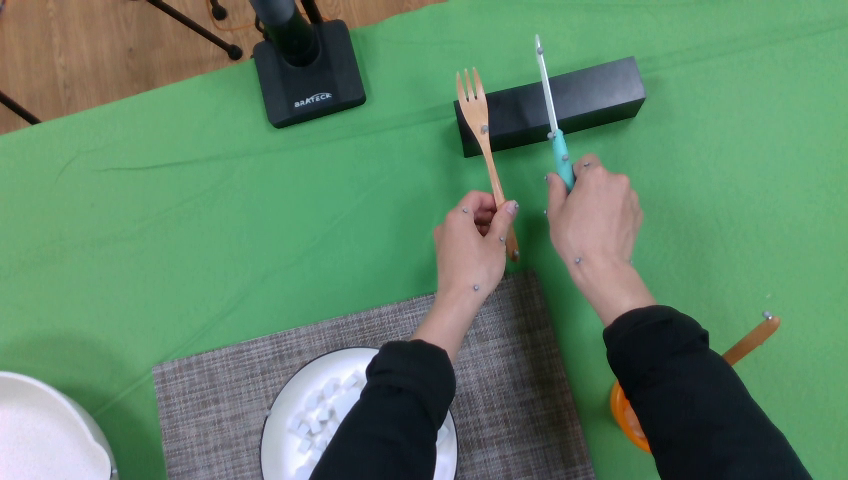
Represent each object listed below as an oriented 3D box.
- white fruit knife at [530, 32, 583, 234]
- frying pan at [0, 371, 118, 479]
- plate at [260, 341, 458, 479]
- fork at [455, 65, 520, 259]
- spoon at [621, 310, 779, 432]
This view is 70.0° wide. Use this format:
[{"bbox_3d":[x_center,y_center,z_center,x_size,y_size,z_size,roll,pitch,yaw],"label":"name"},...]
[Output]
[{"bbox_3d":[0.131,-0.105,0.609,0.016,0.027,0.208,-15,98,-2],"label":"white fruit knife"},{"bbox_3d":[-0.424,0.377,0.611,0.307,0.103,0.484,-22,69,2],"label":"frying pan"},{"bbox_3d":[-0.067,0.212,0.636,0.207,0.039,0.206,-1,79,6],"label":"plate"},{"bbox_3d":[0.070,-0.078,0.631,0.028,0.018,0.208,-14,97,16],"label":"fork"},{"bbox_3d":[0.254,0.127,0.566,0.041,0.194,0.021,41,41,9],"label":"spoon"}]
